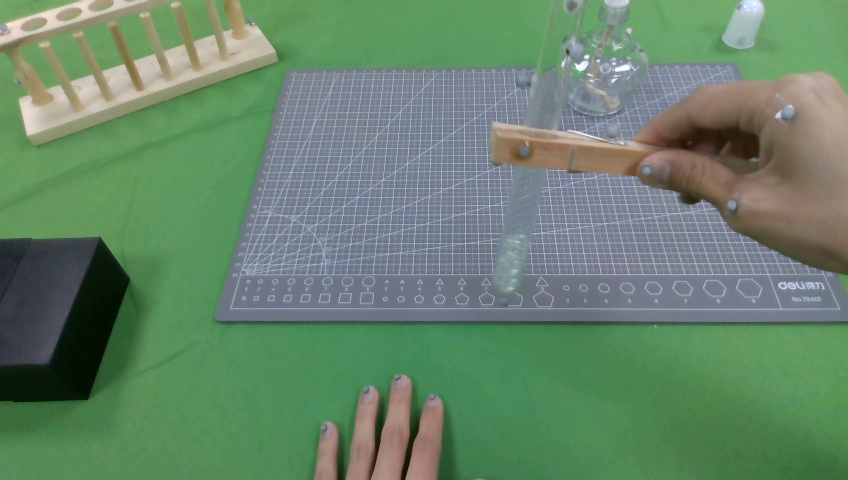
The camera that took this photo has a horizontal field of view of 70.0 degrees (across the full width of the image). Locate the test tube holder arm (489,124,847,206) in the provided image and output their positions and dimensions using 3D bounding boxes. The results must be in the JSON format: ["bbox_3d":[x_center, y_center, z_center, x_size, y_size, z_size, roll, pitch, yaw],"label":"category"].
[{"bbox_3d":[0.120,-0.035,0.288,0.178,0.015,0.013,8,32,0],"label":"test tube holder arm"}]

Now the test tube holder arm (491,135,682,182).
[{"bbox_3d":[0.075,-0.038,0.281,0.088,0.015,0.010,4,32,-7],"label":"test tube holder arm"}]

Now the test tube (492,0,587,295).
[{"bbox_3d":[0.052,-0.037,0.288,0.017,0.151,0.017,6,30,-3],"label":"test tube"}]

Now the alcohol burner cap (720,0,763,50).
[{"bbox_3d":[0.324,-0.220,0.613,0.034,0.048,0.033,-2,51,3],"label":"alcohol burner cap"}]

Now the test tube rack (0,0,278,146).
[{"bbox_3d":[-0.274,-0.184,0.583,0.242,0.086,0.066,-25,54,-17],"label":"test tube rack"}]

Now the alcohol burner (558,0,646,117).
[{"bbox_3d":[0.159,-0.169,0.530,0.078,0.120,0.077,-1,49,1],"label":"alcohol burner"}]
